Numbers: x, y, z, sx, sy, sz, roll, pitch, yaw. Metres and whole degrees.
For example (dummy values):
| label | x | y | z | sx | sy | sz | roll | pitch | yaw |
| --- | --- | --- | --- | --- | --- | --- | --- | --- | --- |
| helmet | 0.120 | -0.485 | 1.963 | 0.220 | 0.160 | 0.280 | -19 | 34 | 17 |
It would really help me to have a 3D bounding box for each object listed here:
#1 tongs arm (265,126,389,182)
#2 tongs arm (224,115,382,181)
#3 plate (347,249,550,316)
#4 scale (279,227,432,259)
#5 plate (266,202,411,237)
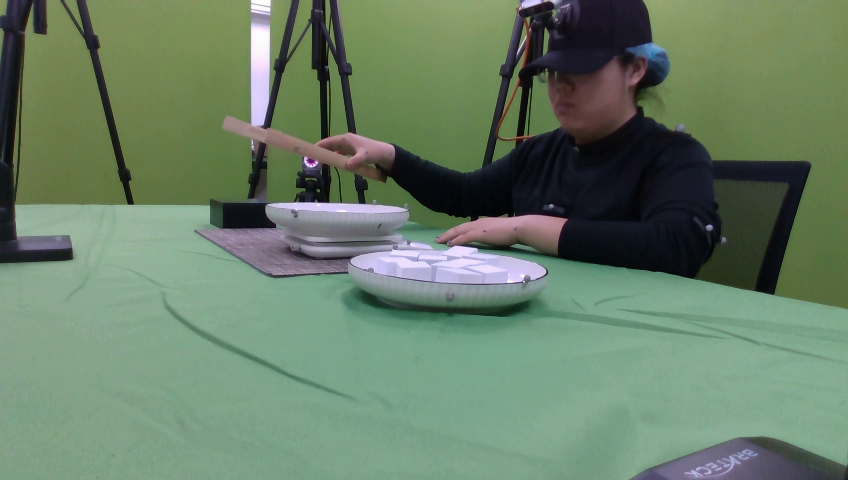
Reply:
| label | x | y | z | sx | sy | sz | roll | pitch | yaw |
| --- | --- | --- | --- | --- | --- | --- | --- | --- | --- |
| tongs arm | -0.169 | -0.158 | 1.173 | 0.028 | 0.028 | 0.389 | 13 | 1 | 29 |
| tongs arm | -0.220 | -0.176 | 1.210 | 0.050 | 0.026 | 0.387 | 17 | 2 | 37 |
| plate | 0.025 | 0.042 | 0.627 | 0.209 | 0.038 | 0.209 | 2 | 7 | 0 |
| scale | -0.100 | 0.001 | 0.899 | 0.202 | 0.031 | 0.148 | -1 | 9 | -31 |
| plate | -0.123 | -0.030 | 0.879 | 0.208 | 0.039 | 0.207 | 2 | 6 | 0 |
